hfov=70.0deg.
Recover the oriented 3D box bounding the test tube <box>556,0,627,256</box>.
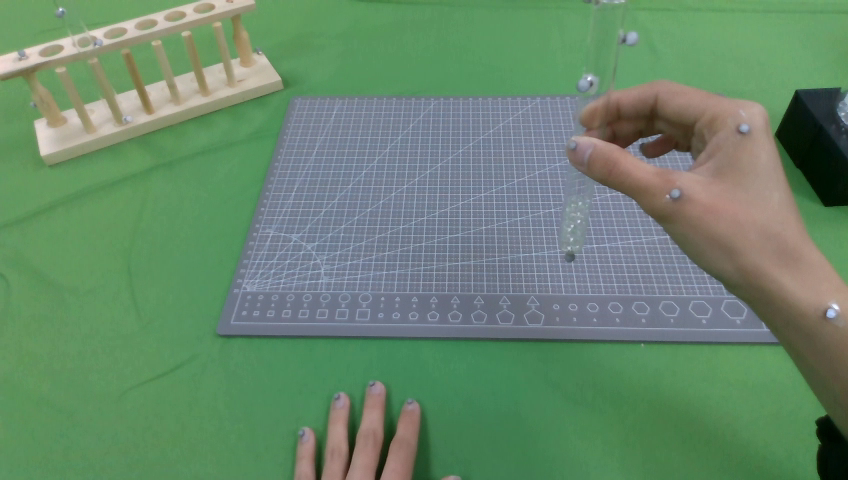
[{"bbox_3d":[0.082,-0.048,0.308,0.017,0.151,0.017,-2,42,2],"label":"test tube"}]

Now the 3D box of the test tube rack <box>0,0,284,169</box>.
[{"bbox_3d":[-0.275,-0.163,0.610,0.243,0.086,0.066,-23,51,-18],"label":"test tube rack"}]

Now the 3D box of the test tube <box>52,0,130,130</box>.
[{"bbox_3d":[-0.305,-0.165,0.554,0.017,0.152,0.017,-1,46,2],"label":"test tube"}]

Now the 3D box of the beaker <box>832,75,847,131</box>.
[{"bbox_3d":[0.378,-0.135,0.478,0.074,0.101,0.083,-20,50,-15],"label":"beaker"}]
